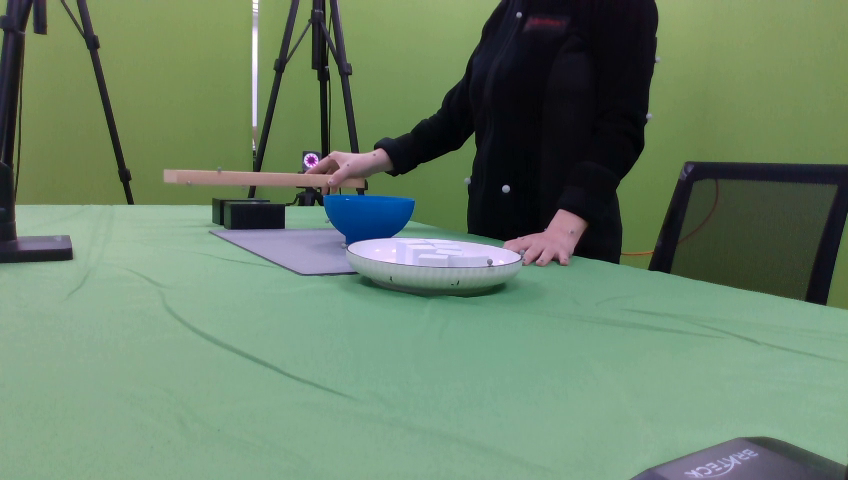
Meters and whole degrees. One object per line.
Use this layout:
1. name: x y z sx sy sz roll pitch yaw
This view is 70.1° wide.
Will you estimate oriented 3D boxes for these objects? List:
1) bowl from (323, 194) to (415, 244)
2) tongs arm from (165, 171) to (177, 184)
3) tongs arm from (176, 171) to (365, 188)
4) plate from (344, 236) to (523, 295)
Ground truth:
1. bowl: -0.091 -0.032 0.986 0.151 0.077 0.151 2 7 0
2. tongs arm: -0.312 -0.123 1.223 0.389 0.027 0.028 -1 1 -26
3. tongs arm: -0.279 -0.116 1.169 0.387 0.026 0.050 -3 5 -34
4. plate: 0.010 0.030 0.707 0.208 0.039 0.207 3 8 0
